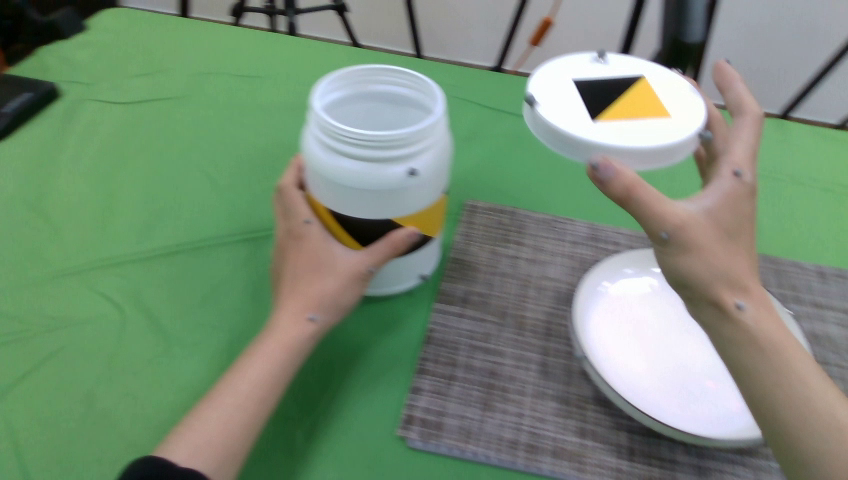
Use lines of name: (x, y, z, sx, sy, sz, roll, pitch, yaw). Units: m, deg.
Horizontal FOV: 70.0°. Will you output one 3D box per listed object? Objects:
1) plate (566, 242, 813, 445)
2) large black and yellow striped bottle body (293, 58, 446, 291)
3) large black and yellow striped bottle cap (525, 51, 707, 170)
plate: (0.227, 0.087, 0.536, 0.208, 0.039, 0.205, 3, 45, -3)
large black and yellow striped bottle body: (-0.049, -0.057, 0.554, 0.131, 0.185, 0.129, 3, 45, -2)
large black and yellow striped bottle cap: (0.125, -0.089, 0.398, 0.115, 0.019, 0.114, 1, 47, -1)
